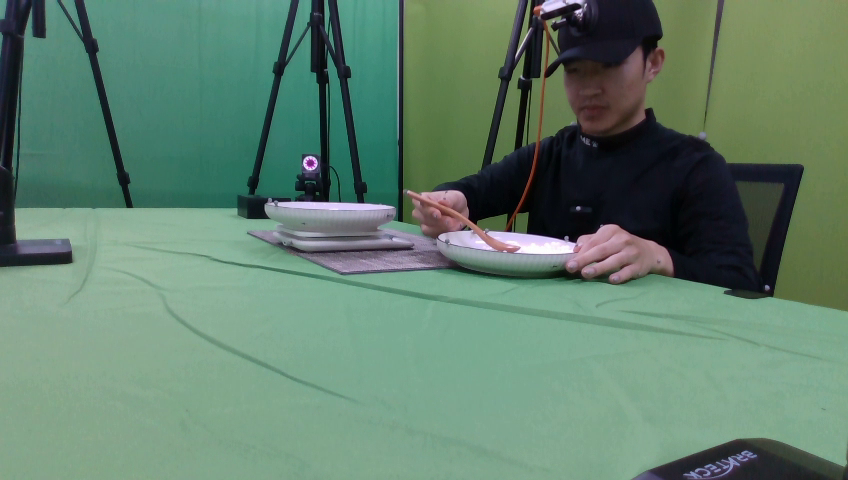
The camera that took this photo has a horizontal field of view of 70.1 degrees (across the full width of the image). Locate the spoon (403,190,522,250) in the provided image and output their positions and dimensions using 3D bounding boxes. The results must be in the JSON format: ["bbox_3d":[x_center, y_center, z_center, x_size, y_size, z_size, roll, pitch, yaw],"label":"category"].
[{"bbox_3d":[0.055,-0.031,0.891,0.193,0.021,0.042,31,17,11],"label":"spoon"}]

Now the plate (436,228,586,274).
[{"bbox_3d":[0.121,0.016,0.855,0.209,0.038,0.209,3,8,0],"label":"plate"}]

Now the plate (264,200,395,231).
[{"bbox_3d":[-0.150,-0.040,0.972,0.208,0.039,0.207,2,7,0],"label":"plate"}]

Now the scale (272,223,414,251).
[{"bbox_3d":[-0.132,-0.008,0.983,0.202,0.031,0.148,-2,8,-32],"label":"scale"}]
